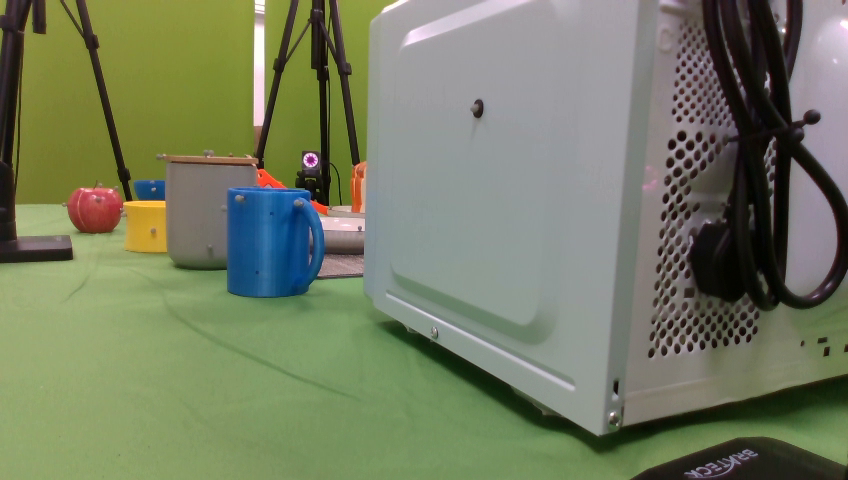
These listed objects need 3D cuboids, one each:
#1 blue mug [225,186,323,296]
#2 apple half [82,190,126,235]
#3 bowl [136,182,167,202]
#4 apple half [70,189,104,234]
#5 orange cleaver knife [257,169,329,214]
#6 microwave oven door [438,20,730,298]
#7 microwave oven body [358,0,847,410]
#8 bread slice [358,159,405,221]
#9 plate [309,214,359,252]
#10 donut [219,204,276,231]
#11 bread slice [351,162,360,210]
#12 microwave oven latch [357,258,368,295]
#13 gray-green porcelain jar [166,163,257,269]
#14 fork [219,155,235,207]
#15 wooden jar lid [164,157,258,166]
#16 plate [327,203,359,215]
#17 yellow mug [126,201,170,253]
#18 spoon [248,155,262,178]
[{"bbox_3d":[-0.148,0.000,0.618,0.116,0.106,0.083,7,9,33],"label":"blue mug"},{"bbox_3d":[-0.516,-0.046,0.994,0.032,0.081,0.081,0,6,26],"label":"apple half"},{"bbox_3d":[-0.497,-0.076,1.221,0.151,0.077,0.151,2,8,0],"label":"bowl"},{"bbox_3d":[-0.552,-0.048,1.010,0.053,0.074,0.081,-1,9,26],"label":"apple half"},{"bbox_3d":[-0.286,-0.082,1.300,0.212,0.077,0.012,26,-6,-31],"label":"orange cleaver knife"},{"bbox_3d":[0.181,-0.076,0.618,0.358,0.243,0.039,-2,8,-28],"label":"microwave oven door"},{"bbox_3d":[0.210,-0.051,0.471,0.444,0.260,0.324,-1,7,-28],"label":"microwave oven body"},{"bbox_3d":[-0.089,-0.106,1.278,0.105,0.131,0.019,-1,0,-24],"label":"bread slice"},{"bbox_3d":[-0.130,-0.011,0.945,0.208,0.039,0.207,2,8,0],"label":"plate"},{"bbox_3d":[-0.316,-0.039,1.083,0.099,0.048,0.099,2,6,0],"label":"donut"},{"bbox_3d":[-0.107,-0.112,1.329,0.107,0.134,0.018,0,-2,-27],"label":"bread slice"},{"bbox_3d":[-0.019,0.031,0.530,0.079,0.029,0.030,-1,7,-27],"label":"microwave oven latch"},{"bbox_3d":[-0.263,-0.031,0.754,0.106,0.126,0.106,2,7,0],"label":"gray-green porcelain jar"},{"bbox_3d":[-0.459,-0.134,1.415,0.028,0.018,0.207,-1,-34,-24],"label":"fork"},{"bbox_3d":[-0.261,-0.093,0.746,0.108,0.020,0.108,0,9,0],"label":"wooden jar lid"},{"bbox_3d":[-0.102,-0.053,1.299,0.209,0.038,0.209,2,7,0],"label":"plate"},{"bbox_3d":[-0.361,-0.019,0.866,0.130,0.064,0.100,6,9,27],"label":"yellow mug"},{"bbox_3d":[-0.417,-0.150,1.543,0.042,0.193,0.021,-5,-34,-32],"label":"spoon"}]
